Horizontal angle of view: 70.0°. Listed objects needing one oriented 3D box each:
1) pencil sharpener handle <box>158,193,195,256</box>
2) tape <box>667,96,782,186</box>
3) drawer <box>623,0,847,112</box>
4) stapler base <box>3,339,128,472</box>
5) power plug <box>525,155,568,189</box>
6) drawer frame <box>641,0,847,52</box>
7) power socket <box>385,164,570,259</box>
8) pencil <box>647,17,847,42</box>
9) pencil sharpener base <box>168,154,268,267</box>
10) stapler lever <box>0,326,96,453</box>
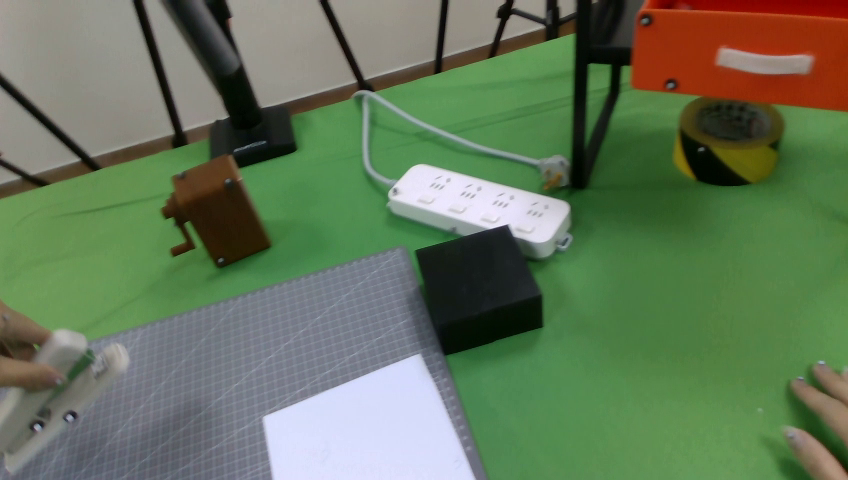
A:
[{"bbox_3d":[-0.281,-0.016,0.672,0.030,0.068,0.035,-26,24,-12],"label":"pencil sharpener handle"},{"bbox_3d":[0.343,-0.118,0.697,0.117,0.053,0.115,-6,46,7],"label":"tape"},{"bbox_3d":[0.291,-0.200,0.513,0.193,0.074,0.210,12,48,24],"label":"drawer"},{"bbox_3d":[-0.313,0.135,0.519,0.130,0.025,0.041,-46,42,-8],"label":"stapler base"},{"bbox_3d":[0.142,-0.077,0.726,0.052,0.035,0.072,-41,14,-32],"label":"power plug"},{"bbox_3d":[0.329,-0.266,0.567,0.200,0.083,0.212,11,49,23],"label":"drawer frame"},{"bbox_3d":[0.057,-0.037,0.692,0.225,0.033,0.072,18,51,28],"label":"power socket"},{"bbox_3d":[0.274,-0.183,0.525,0.012,0.012,0.192,-33,35,-19],"label":"pencil"},{"bbox_3d":[-0.237,-0.031,0.697,0.077,0.108,0.060,-26,46,-12],"label":"pencil sharpener base"},{"bbox_3d":[-0.325,0.122,0.501,0.118,0.040,0.026,-46,43,-8],"label":"stapler lever"}]
